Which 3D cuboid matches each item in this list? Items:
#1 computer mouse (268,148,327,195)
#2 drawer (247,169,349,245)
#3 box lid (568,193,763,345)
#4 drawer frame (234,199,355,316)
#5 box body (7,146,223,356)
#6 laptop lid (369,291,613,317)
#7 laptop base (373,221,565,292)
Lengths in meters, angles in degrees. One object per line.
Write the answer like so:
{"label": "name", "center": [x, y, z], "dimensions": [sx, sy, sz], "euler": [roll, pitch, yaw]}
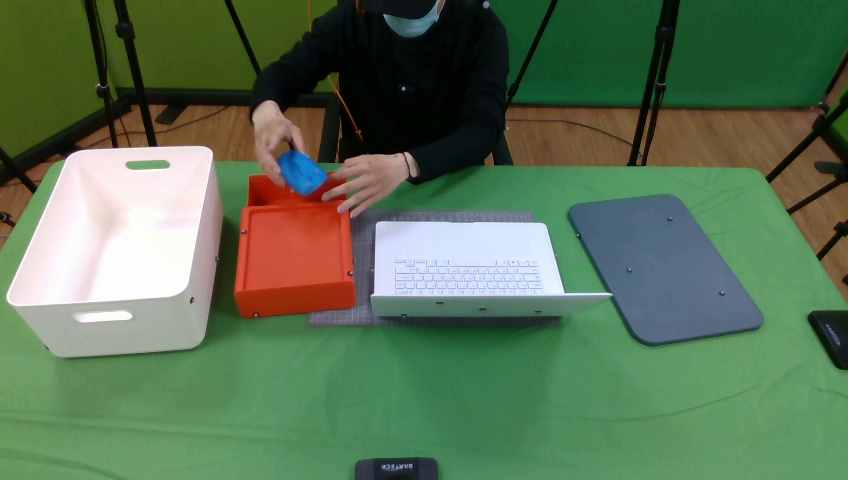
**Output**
{"label": "computer mouse", "center": [-0.237, -0.131, 1.126], "dimensions": [0.116, 0.041, 0.063], "euler": [34, 63, 30]}
{"label": "drawer", "center": [-0.245, -0.041, 1.176], "dimensions": [0.195, 0.073, 0.210], "euler": [-3, 47, -7]}
{"label": "box lid", "center": [0.465, 0.040, 1.203], "dimensions": [0.264, 0.015, 0.369], "euler": [-7, 47, -11]}
{"label": "drawer frame", "center": [-0.233, 0.026, 1.111], "dimensions": [0.202, 0.083, 0.212], "euler": [-5, 47, -8]}
{"label": "box body", "center": [-0.499, 0.012, 1.051], "dimensions": [0.254, 0.161, 0.361], "euler": [-3, 47, -7]}
{"label": "laptop lid", "center": [0.092, 0.104, 0.965], "dimensions": [0.357, 0.242, 0.013], "euler": [0, 76, -5]}
{"label": "laptop base", "center": [0.080, 0.049, 1.159], "dimensions": [0.355, 0.023, 0.234], "euler": [0, 43, -4]}
